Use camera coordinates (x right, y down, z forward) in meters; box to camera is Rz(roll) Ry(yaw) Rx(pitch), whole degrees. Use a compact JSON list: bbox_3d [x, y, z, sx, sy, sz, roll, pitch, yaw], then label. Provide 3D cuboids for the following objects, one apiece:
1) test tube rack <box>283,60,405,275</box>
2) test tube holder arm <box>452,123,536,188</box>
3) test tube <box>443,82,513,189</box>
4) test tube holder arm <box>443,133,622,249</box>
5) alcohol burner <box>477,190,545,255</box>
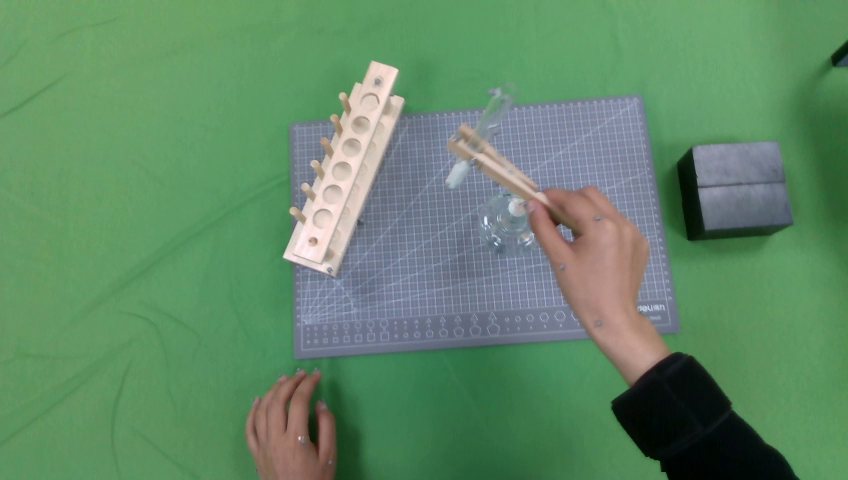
[{"bbox_3d":[-0.099,-0.088,0.716,0.066,0.085,0.241,19,78,7],"label":"test tube rack"},{"bbox_3d":[0.061,-0.071,0.535,0.088,0.015,0.010,39,59,3],"label":"test tube holder arm"},{"bbox_3d":[0.043,-0.084,0.525,0.017,0.151,0.017,6,64,-13],"label":"test tube"},{"bbox_3d":[0.095,-0.042,0.532,0.178,0.015,0.013,32,59,-1],"label":"test tube holder arm"},{"bbox_3d":[0.099,-0.024,0.680,0.078,0.119,0.077,0,76,1],"label":"alcohol burner"}]
